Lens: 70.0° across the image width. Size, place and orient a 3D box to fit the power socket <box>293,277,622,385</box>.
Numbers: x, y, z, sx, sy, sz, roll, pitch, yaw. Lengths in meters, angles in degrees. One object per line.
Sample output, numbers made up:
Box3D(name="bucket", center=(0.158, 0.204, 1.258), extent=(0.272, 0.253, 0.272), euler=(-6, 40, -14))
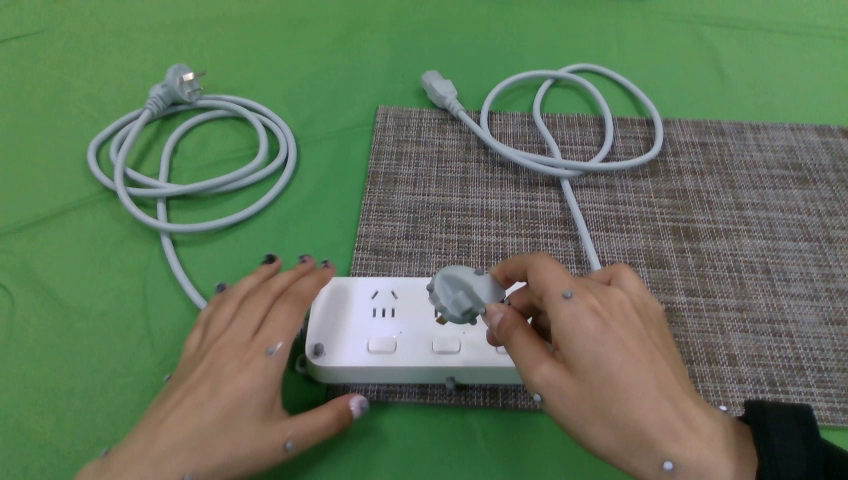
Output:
Box3D(name="power socket", center=(0.025, 0.062, 0.416), extent=(0.227, 0.033, 0.071), euler=(0, 51, 0))

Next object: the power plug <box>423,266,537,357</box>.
Box3D(name="power plug", center=(0.026, 0.048, 0.361), extent=(0.035, 0.053, 0.072), euler=(-14, 69, -37))
